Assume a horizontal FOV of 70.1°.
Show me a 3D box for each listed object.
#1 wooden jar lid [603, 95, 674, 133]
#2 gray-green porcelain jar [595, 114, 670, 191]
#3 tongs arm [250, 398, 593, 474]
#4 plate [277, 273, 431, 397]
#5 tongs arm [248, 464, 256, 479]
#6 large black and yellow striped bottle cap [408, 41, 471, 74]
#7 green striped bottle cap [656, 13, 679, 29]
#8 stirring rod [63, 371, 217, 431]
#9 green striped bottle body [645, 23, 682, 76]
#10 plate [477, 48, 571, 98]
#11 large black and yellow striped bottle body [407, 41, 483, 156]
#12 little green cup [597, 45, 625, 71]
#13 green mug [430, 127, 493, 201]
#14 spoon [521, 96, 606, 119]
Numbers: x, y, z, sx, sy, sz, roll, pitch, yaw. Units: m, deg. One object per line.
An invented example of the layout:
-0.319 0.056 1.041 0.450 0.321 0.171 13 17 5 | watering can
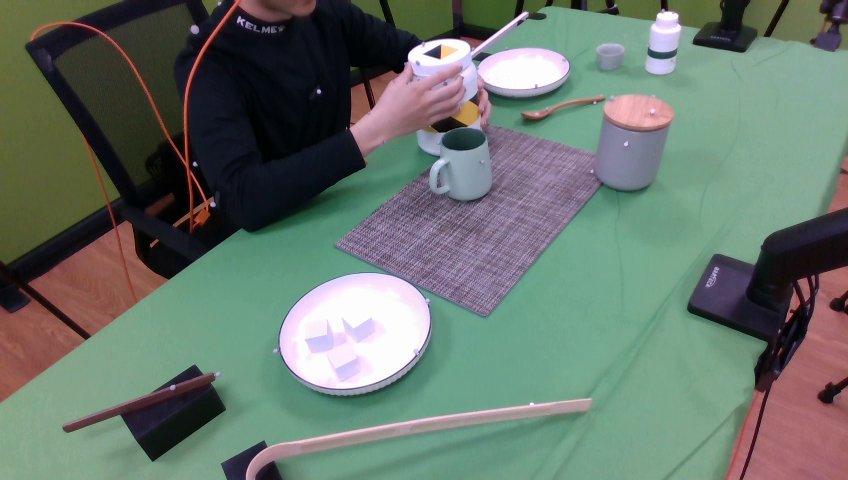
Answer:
0.343 -0.200 0.973 0.108 0.021 0.108 -1 39 2 | wooden jar lid
0.346 -0.154 1.017 0.106 0.127 0.105 -2 44 2 | gray-green porcelain jar
0.008 0.212 0.675 0.389 0.028 0.028 -5 46 -11 | tongs arm
-0.091 0.129 0.821 0.207 0.039 0.206 -4 40 4 | plate
0.012 0.262 0.615 0.385 0.026 0.050 3 42 -2 | tongs arm
0.028 -0.333 1.097 0.115 0.019 0.114 -5 39 5 | large black and yellow striped bottle cap
0.515 -0.463 1.278 0.044 0.020 0.044 -6 42 6 | green striped bottle cap
-0.337 0.192 0.723 0.177 0.014 0.005 -18 43 -12 | stirring rod
0.520 -0.424 1.312 0.063 0.120 0.063 -4 41 4 | green striped bottle body
0.223 -0.371 1.357 0.209 0.038 0.208 -4 41 4 | plate
0.041 -0.268 1.147 0.130 0.185 0.130 -7 38 6 | large black and yellow striped bottle body
0.423 -0.413 1.375 0.061 0.039 0.061 -3 41 3 | little green cup
0.059 -0.122 1.034 0.126 0.105 0.091 -35 48 -28 | green mug
0.291 -0.277 1.249 0.194 0.022 0.041 -17 25 -11 | spoon
